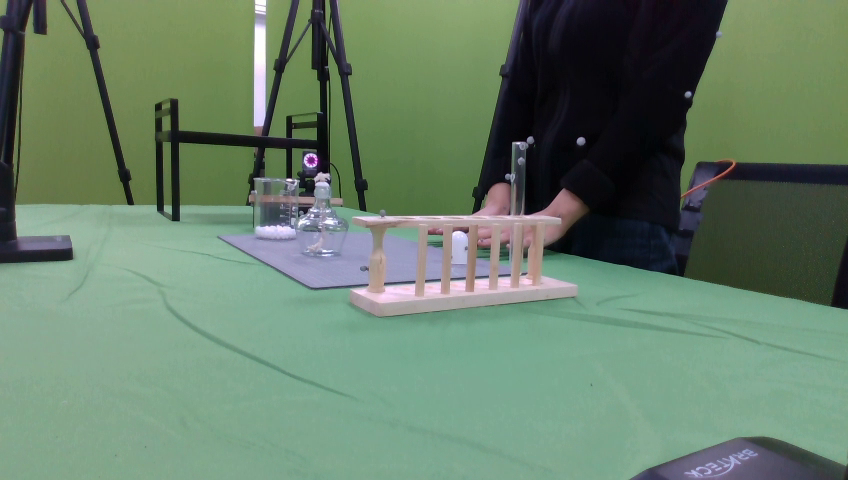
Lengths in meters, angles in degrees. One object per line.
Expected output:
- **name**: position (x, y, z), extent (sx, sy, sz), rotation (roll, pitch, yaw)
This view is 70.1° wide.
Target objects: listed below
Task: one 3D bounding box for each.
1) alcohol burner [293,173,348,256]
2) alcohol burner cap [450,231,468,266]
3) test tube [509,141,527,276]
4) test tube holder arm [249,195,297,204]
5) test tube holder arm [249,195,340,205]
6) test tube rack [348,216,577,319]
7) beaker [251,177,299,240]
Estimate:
- **alcohol burner**: position (-0.146, -0.036, 0.859), extent (0.078, 0.119, 0.078), rotation (4, 8, 0)
- **alcohol burner cap**: position (0.046, 0.011, 0.838), extent (0.034, 0.048, 0.034), rotation (2, 6, 0)
- **test tube**: position (0.102, -0.032, 0.662), extent (0.017, 0.150, 0.017), rotation (0, 10, 0)
- **test tube holder arm**: position (-0.284, -0.076, 1.141), extent (0.088, 0.015, 0.010), rotation (0, 9, -29)
- **test tube holder arm**: position (-0.247, -0.077, 1.168), extent (0.179, 0.015, 0.013), rotation (0, 9, -31)
- **test tube rack**: position (0.048, 0.021, 0.619), extent (0.244, 0.085, 0.066), rotation (-2, 9, -31)
- **beaker**: position (-0.245, -0.052, 1.004), extent (0.083, 0.100, 0.074), rotation (9, 10, 36)
